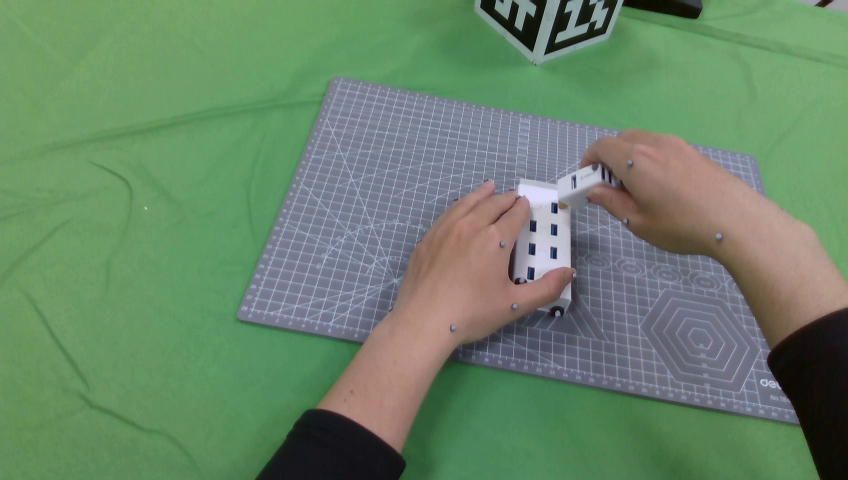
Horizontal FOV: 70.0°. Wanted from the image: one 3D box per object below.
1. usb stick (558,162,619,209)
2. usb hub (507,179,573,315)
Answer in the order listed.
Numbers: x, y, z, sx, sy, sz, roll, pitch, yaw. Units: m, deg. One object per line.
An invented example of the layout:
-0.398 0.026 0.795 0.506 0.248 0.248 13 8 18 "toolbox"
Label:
0.131 -0.043 0.504 0.027 0.059 0.021 19 64 -32 "usb stick"
0.099 0.002 0.515 0.049 0.025 0.124 10 51 0 "usb hub"
